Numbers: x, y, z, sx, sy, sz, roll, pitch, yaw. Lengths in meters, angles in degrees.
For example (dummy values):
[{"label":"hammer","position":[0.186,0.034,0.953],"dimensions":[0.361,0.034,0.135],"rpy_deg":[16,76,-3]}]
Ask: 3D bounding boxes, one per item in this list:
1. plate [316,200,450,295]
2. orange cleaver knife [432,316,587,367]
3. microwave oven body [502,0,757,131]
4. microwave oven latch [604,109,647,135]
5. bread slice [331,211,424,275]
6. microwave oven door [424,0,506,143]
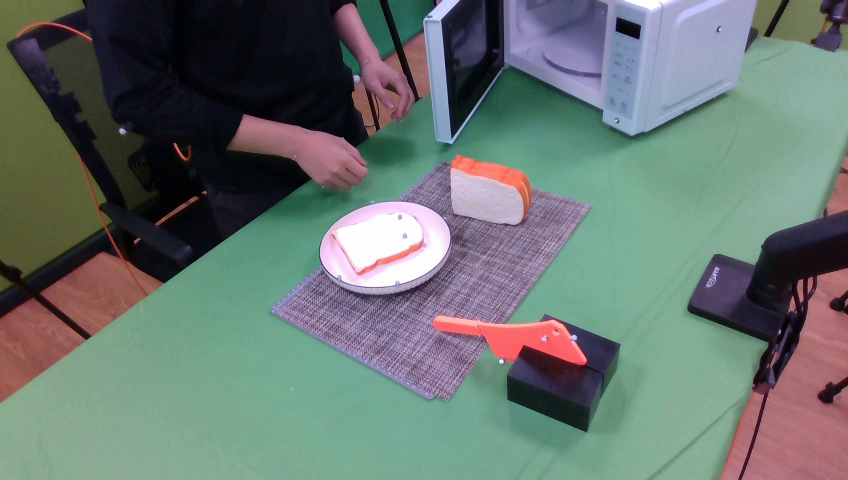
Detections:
[{"label":"plate","position":[-0.062,0.015,0.944],"dimensions":[0.207,0.039,0.206],"rpy_deg":[-4,41,4]},{"label":"orange cleaver knife","position":[0.101,0.127,0.761],"dimensions":[0.210,0.077,0.012],"rpy_deg":[-1,34,40]},{"label":"microwave oven body","position":[0.396,-0.448,1.248],"dimensions":[0.327,0.261,0.437],"rpy_deg":[-27,44,-21]},{"label":"microwave oven latch","position":[0.378,-0.225,1.139],"dimensions":[0.030,0.029,0.078],"rpy_deg":[-26,43,-20]},{"label":"bread slice","position":[-0.069,-0.002,0.960],"dimensions":[0.135,0.018,0.106],"rpy_deg":[-22,46,-21]},{"label":"microwave oven door","position":[0.093,-0.392,1.218],"dimensions":[0.039,0.245,0.356],"rpy_deg":[11,44,21]}]
